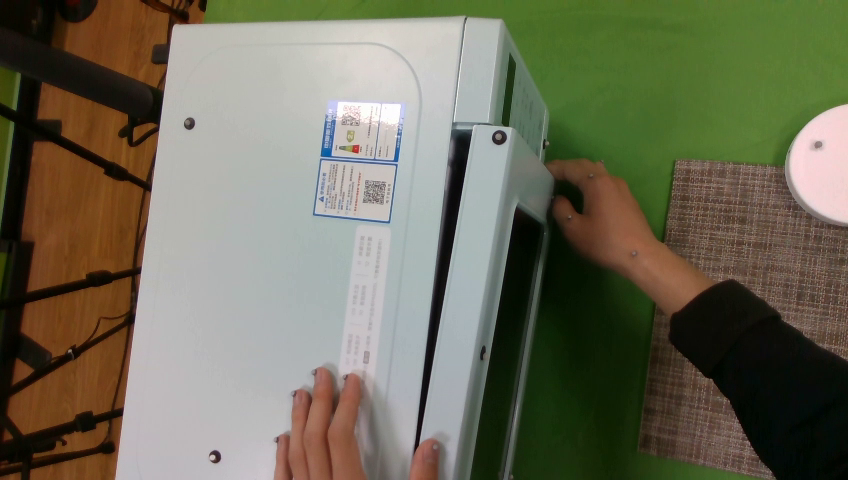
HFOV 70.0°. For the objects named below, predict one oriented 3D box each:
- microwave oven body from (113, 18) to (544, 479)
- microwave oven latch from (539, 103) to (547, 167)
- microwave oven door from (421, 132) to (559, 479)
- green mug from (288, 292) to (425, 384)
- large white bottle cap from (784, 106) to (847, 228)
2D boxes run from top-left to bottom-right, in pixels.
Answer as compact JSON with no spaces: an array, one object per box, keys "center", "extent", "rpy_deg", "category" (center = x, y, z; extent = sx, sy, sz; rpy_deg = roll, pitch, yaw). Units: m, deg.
[{"center":[-0.079,0.048,0.597],"extent":[0.324,0.261,0.441],"rpy_deg":[6,88,19],"category":"microwave oven body"},{"center":[0.113,-0.105,0.643],"extent":[0.030,0.029,0.079],"rpy_deg":[7,89,20],"category":"microwave oven latch"},{"center":[0.059,0.104,0.539],"extent":[0.039,0.245,0.355],"rpy_deg":[9,89,21],"category":"microwave oven door"},{"center":[-0.062,0.097,0.611],"extent":[0.125,0.105,0.092],"rpy_deg":[-7,84,15],"category":"green mug"},{"center":[0.401,-0.068,0.563],"extent":[0.114,0.018,0.114],"rpy_deg":[-2,85,19],"category":"large white bottle cap"}]
